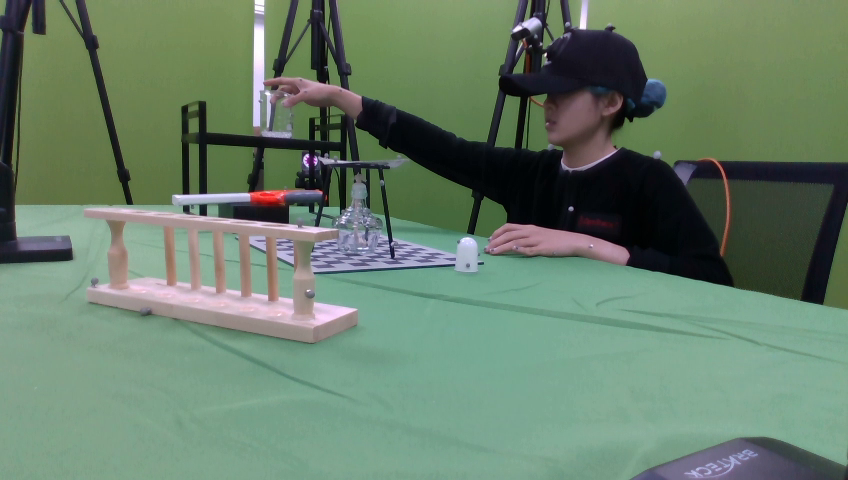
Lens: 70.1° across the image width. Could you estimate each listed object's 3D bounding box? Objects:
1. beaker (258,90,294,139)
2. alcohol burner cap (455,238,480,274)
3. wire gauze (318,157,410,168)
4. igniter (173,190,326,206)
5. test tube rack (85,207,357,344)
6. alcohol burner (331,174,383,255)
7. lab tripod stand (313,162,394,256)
[{"bbox_3d":[-0.322,-0.274,1.330,0.083,0.100,0.074,8,9,30],"label":"beaker"},{"bbox_3d":[0.058,0.022,0.798,0.034,0.048,0.034,3,6,0],"label":"alcohol burner cap"},{"bbox_3d":[-0.091,-0.114,0.888,0.122,0.011,0.124,0,6,-15],"label":"wire gauze"},{"bbox_3d":[-0.317,-0.079,1.128,0.278,0.025,0.057,-4,13,-32],"label":"igniter"},{"bbox_3d":[-0.177,0.022,0.518,0.241,0.085,0.067,6,7,23],"label":"test tube rack"},{"bbox_3d":[-0.098,-0.038,0.895,0.078,0.119,0.078,4,9,0],"label":"alcohol burner"},{"bbox_3d":[-0.098,-0.048,0.897,0.148,0.131,0.148,1,6,0],"label":"lab tripod stand"}]
